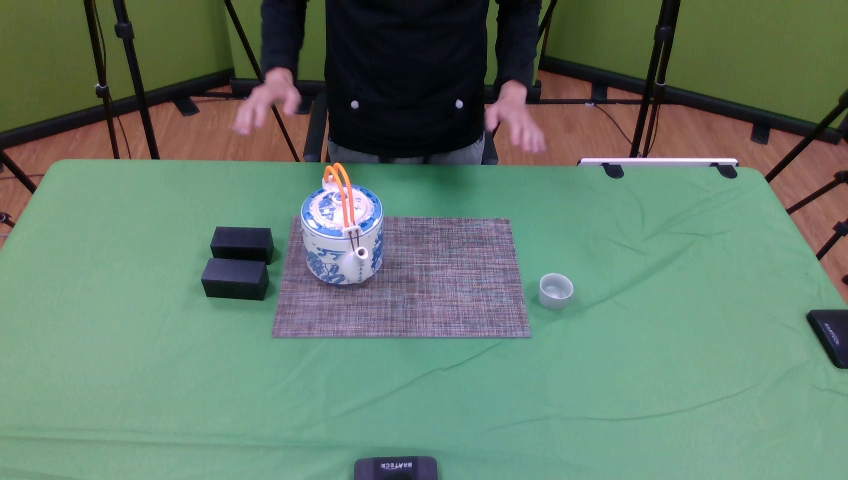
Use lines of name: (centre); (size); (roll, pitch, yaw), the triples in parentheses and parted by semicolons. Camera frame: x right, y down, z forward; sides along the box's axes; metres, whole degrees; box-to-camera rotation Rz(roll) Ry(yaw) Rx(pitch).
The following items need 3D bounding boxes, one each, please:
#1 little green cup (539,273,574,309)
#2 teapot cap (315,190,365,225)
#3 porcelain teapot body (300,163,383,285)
little green cup: (0.240, 0.096, 1.113); (0.061, 0.039, 0.061); (2, 47, -2)
teapot cap: (-0.145, -0.061, 1.046); (0.085, 0.044, 0.084); (1, 48, 0)
porcelain teapot body: (-0.134, -0.014, 1.057); (0.145, 0.226, 0.204); (-16, 50, -18)
